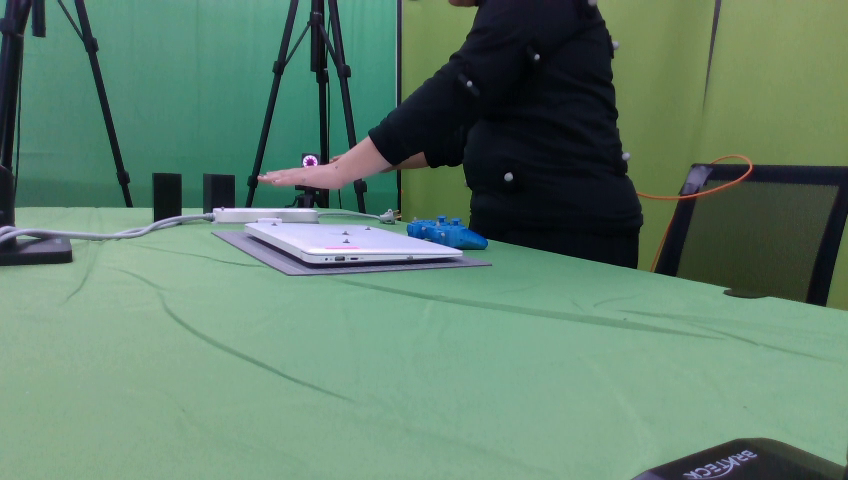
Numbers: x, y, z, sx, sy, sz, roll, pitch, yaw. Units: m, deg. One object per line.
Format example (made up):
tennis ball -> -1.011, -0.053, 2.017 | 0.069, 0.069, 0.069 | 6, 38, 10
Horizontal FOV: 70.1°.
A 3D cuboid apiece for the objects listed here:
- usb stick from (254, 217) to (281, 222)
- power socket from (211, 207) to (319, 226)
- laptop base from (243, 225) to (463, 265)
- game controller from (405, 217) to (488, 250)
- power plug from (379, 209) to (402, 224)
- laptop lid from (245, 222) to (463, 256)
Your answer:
usb stick -> -0.296, -0.028, 1.114 | 0.059, 0.027, 0.021 | -4, 12, -31
power socket -> -0.334, -0.051, 1.282 | 0.228, 0.032, 0.072 | -2, 10, -29
laptop base -> -0.128, 0.007, 0.951 | 0.237, 0.023, 0.352 | 2, 6, -30
game controller -> 0.034, -0.013, 1.067 | 0.097, 0.051, 0.154 | -6, 10, -29
power plug -> -0.081, -0.061, 1.421 | 0.053, 0.035, 0.072 | -15, 22, -6
laptop lid -> -0.126, -0.005, 0.951 | 0.243, 0.013, 0.355 | 1, 7, -28
